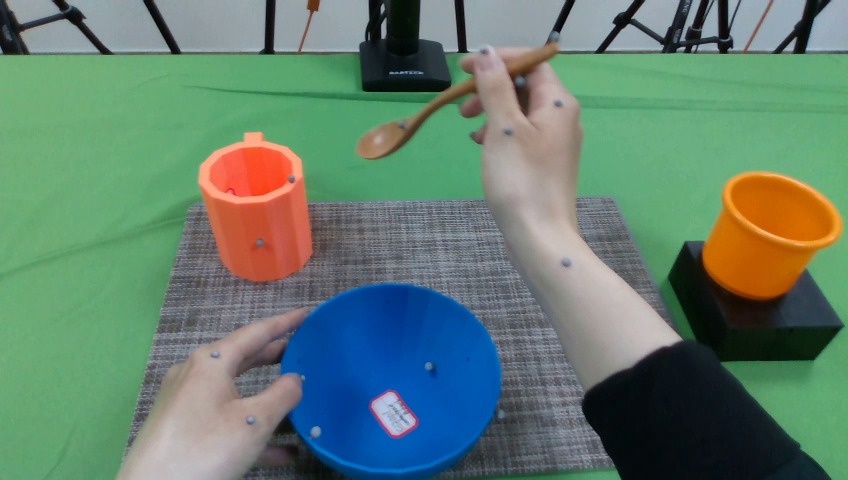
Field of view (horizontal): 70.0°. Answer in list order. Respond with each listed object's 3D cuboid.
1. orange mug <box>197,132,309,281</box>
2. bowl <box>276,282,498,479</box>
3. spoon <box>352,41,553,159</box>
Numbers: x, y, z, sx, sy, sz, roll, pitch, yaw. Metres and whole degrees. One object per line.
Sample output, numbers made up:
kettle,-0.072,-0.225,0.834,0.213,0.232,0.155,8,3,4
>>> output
orange mug,-0.155,-0.039,0.561,0.083,0.101,0.125,-6,50,-10
bowl,-0.026,0.111,0.437,0.151,0.077,0.150,3,45,-2
spoon,0.010,-0.096,0.427,0.022,0.193,0.041,36,57,-27
